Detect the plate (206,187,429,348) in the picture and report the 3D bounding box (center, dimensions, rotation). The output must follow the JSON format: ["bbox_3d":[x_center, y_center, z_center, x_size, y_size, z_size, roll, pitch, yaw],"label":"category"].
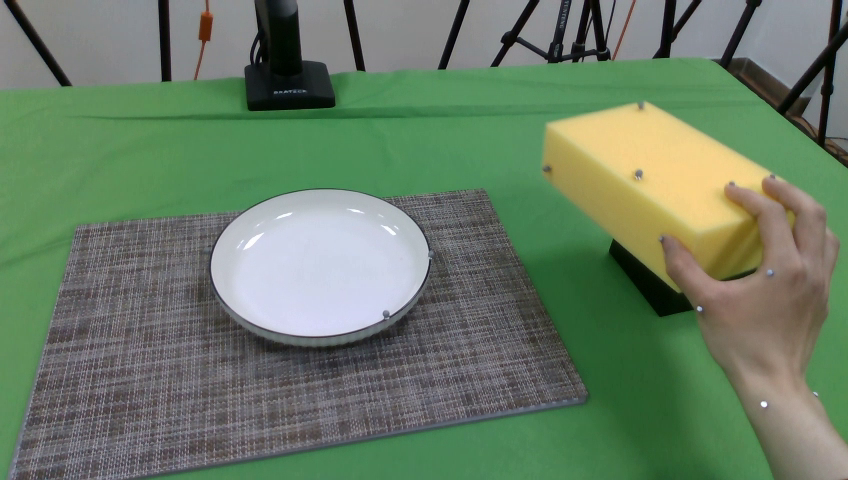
[{"bbox_3d":[-0.100,0.025,0.589,0.208,0.039,0.205,4,42,-3],"label":"plate"}]

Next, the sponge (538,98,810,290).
[{"bbox_3d":[0.208,-0.053,0.545,0.118,0.061,0.204,-16,39,-18],"label":"sponge"}]
